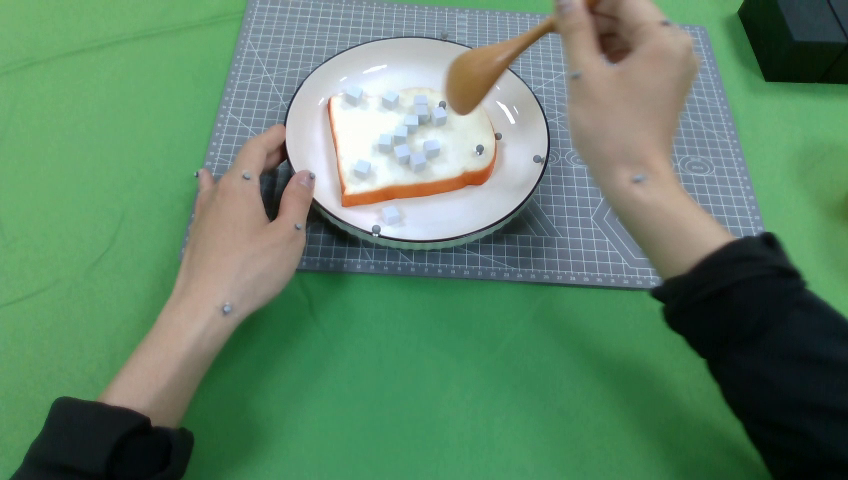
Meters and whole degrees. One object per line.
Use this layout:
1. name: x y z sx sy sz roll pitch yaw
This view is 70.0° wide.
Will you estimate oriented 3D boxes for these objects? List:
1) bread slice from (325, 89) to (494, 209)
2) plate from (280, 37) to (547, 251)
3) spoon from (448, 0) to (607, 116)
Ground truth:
1. bread slice: -0.011 -0.081 0.490 0.132 0.019 0.104 -10 61 -9
2. plate: -0.008 -0.077 0.485 0.209 0.038 0.207 2 60 -3
3. spoon: 0.082 -0.138 0.384 0.022 0.193 0.041 -1 69 -49
